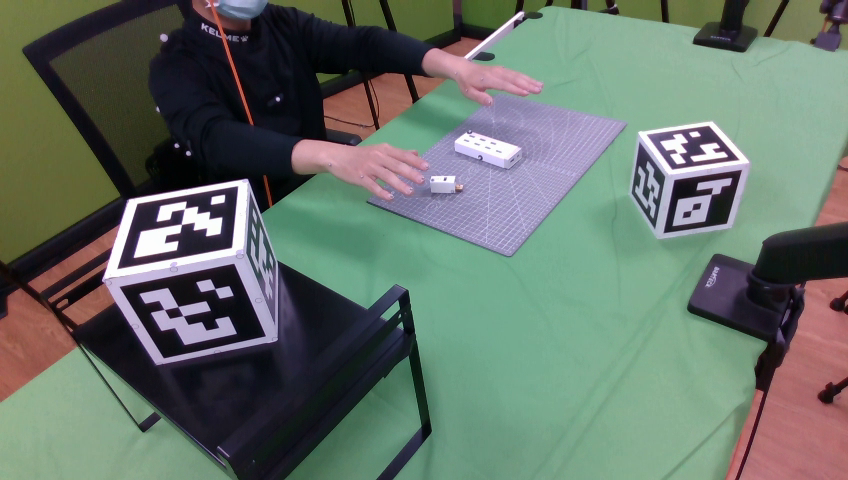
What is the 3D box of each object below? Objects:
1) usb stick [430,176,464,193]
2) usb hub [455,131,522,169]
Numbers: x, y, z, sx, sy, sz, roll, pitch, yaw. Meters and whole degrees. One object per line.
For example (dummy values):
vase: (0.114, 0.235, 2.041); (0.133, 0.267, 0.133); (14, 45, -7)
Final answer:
usb stick: (0.042, -0.098, 1.070); (0.059, 0.027, 0.021); (4, 39, 8)
usb hub: (0.122, -0.172, 1.146); (0.124, 0.025, 0.049); (25, 49, 32)
